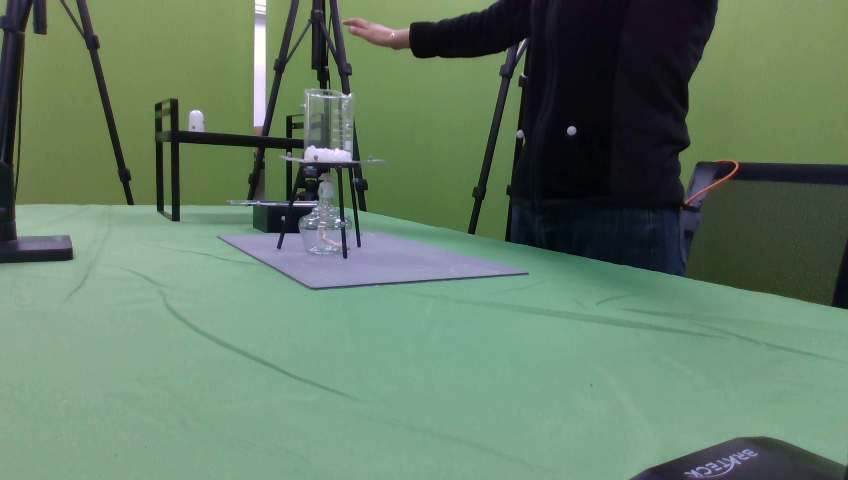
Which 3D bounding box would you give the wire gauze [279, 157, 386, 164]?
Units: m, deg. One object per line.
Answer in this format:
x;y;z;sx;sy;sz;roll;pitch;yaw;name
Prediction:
-0.134;-0.113;0.875;0.122;0.011;0.124;-1;6;-30;wire gauze

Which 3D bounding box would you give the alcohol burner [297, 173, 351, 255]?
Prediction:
-0.144;-0.038;0.879;0.078;0.119;0.078;4;6;0;alcohol burner

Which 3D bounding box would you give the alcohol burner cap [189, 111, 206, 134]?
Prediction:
-0.469;-0.244;1.252;0.034;0.048;0.034;2;7;0;alcohol burner cap

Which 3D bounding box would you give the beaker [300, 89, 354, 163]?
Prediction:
-0.137;-0.161;0.869;0.083;0.100;0.074;9;10;42;beaker

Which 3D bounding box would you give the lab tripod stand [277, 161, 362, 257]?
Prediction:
-0.143;-0.049;0.884;0.148;0.131;0.148;1;9;0;lab tripod stand

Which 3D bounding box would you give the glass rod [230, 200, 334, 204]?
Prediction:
-0.265;-0.071;1.144;0.201;0.008;0.008;-1;8;-31;glass rod
